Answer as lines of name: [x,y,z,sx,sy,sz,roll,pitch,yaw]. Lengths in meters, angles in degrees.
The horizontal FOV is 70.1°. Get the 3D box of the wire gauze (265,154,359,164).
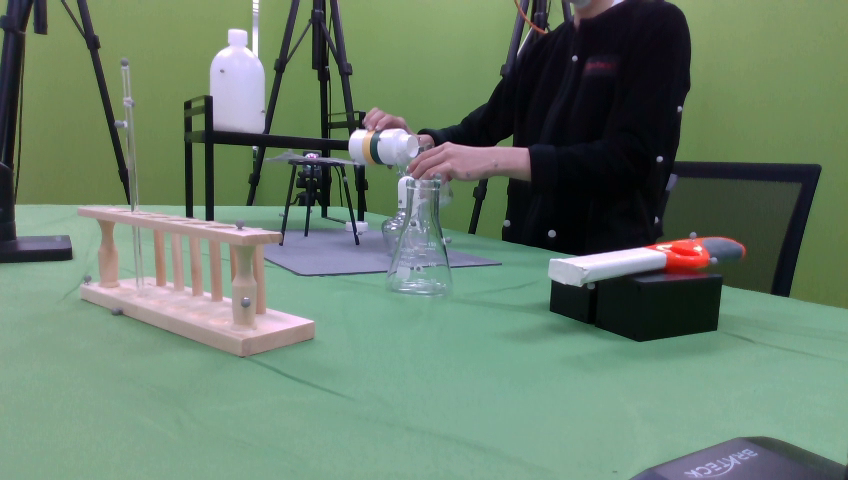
wire gauze: [-0.181,-0.129,0.969,0.126,0.011,0.121,-1,7,-27]

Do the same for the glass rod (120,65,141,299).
glass rod: [-0.249,-0.047,0.513,0.008,0.199,0.008,-1,4,0]

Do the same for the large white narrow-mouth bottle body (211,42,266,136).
large white narrow-mouth bottle body: [-0.361,-0.302,1.176,0.102,0.194,0.102,1,7,0]

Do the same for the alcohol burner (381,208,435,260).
alcohol burner: [-0.023,-0.032,0.871,0.078,0.119,0.078,1,6,0]

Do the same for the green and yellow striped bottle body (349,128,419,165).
green and yellow striped bottle body: [-0.068,-0.163,1.063,0.119,0.063,0.063,4,7,32]

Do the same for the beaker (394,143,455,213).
beaker: [0.004,-0.103,1.014,0.074,0.100,0.084,-17,-13,-28]

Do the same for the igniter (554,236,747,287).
igniter: [0.221,0.017,0.558,0.278,0.025,0.057,-5,15,-39]

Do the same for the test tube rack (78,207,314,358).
test tube rack: [-0.197,0.024,0.499,0.241,0.085,0.067,8,8,37]

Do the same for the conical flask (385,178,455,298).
conical flask: [-0.002,-0.004,0.639,0.075,0.122,0.075,2,7,0]

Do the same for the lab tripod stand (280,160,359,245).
lab tripod stand: [-0.176,-0.062,0.973,0.148,0.131,0.148,0,7,0]

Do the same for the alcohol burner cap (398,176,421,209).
alcohol burner cap: [-0.023,-0.068,0.866,0.034,0.048,0.034,-5,8,1]

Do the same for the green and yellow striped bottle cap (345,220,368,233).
green and yellow striped bottle cap: [-0.130,-0.026,1.169,0.045,0.020,0.045,3,9,0]

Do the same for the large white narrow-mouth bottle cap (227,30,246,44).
large white narrow-mouth bottle cap: [-0.361,-0.389,1.165,0.038,0.024,0.037,1,7,0]
